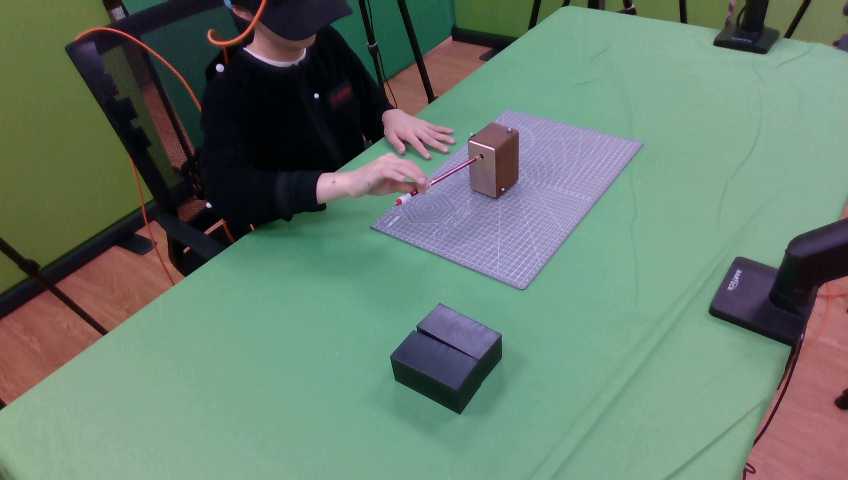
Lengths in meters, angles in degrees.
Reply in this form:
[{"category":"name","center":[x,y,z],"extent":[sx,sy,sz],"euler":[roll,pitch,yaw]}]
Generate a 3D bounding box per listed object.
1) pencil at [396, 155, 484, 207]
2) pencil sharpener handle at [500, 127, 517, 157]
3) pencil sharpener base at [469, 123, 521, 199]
[{"category":"pencil","center":[0.030,-0.098,0.967],"extent":[0.195,0.012,0.012],"euler":[-32,46,-30]},{"category":"pencil sharpener handle","center":[0.154,-0.178,1.072],"extent":[0.036,0.068,0.031],"euler":[36,55,20]},{"category":"pencil sharpener base","center":[0.126,-0.138,1.050],"extent":[0.061,0.107,0.077],"euler":[24,50,33]}]
